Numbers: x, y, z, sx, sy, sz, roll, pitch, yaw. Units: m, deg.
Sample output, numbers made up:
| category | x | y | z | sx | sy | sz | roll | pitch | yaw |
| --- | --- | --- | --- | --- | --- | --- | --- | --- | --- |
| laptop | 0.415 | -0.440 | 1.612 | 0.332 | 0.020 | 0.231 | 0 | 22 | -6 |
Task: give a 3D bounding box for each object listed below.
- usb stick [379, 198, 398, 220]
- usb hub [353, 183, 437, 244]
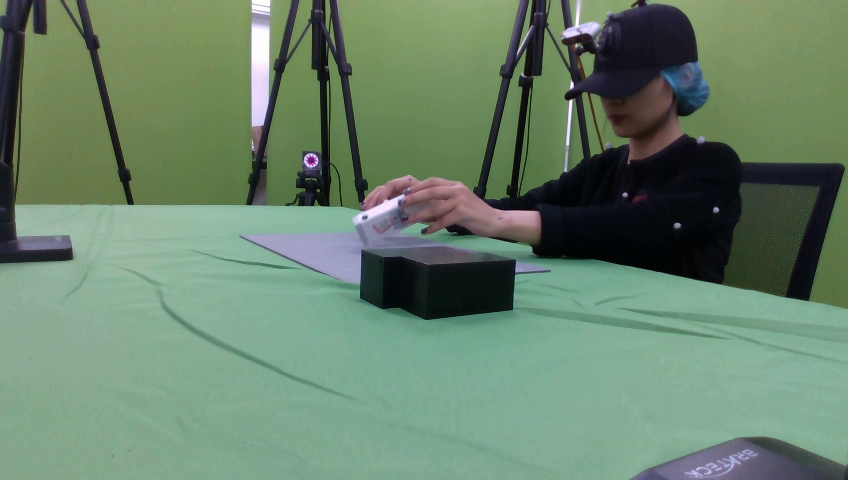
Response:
| category | x | y | z | sx | sy | sz | roll | pitch | yaw |
| --- | --- | --- | --- | --- | --- | --- | --- | --- | --- |
| usb stick | -0.060 | -0.053 | 1.028 | 0.021 | 0.027 | 0.059 | 30 | -4 | 7 |
| usb hub | -0.044 | -0.041 | 0.939 | 0.125 | 0.049 | 0.025 | -25 | 40 | -9 |
